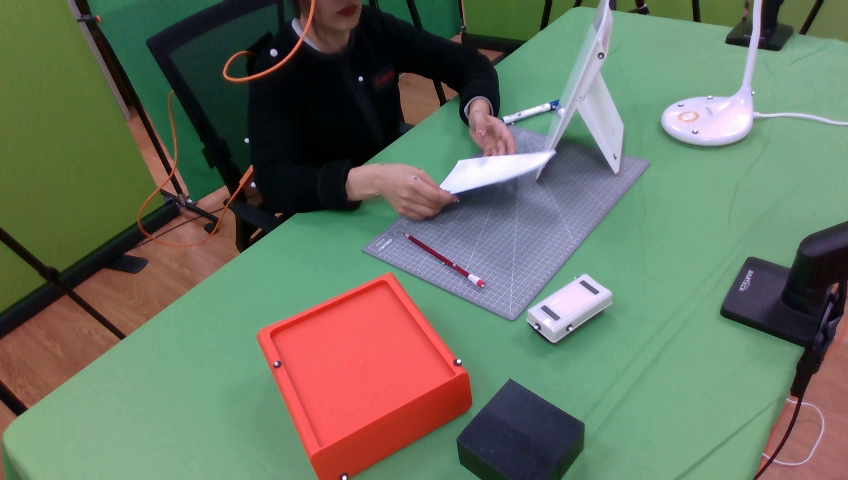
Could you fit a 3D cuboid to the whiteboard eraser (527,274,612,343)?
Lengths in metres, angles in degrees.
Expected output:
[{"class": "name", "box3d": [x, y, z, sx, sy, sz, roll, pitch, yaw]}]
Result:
[{"class": "whiteboard eraser", "box3d": [0.198, 0.094, 0.820, 0.113, 0.042, 0.055, -30, 43, -22]}]

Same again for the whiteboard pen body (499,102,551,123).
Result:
[{"class": "whiteboard pen body", "box3d": [0.221, -0.268, 1.257, 0.141, 0.017, 0.017, -19, 41, -13]}]

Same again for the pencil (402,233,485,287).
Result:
[{"class": "pencil", "box3d": [0.026, 0.027, 0.949, 0.012, 0.012, 0.192, -34, 45, -26]}]

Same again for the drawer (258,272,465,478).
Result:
[{"class": "drawer", "box3d": [-0.081, 0.160, 0.764, 0.195, 0.073, 0.210, -23, 43, -17]}]

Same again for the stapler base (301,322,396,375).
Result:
[{"class": "stapler base", "box3d": [-0.103, 0.139, 0.815, 0.131, 0.024, 0.041, -20, 38, -12]}]

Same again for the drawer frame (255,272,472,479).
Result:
[{"class": "drawer frame", "box3d": [-0.079, 0.161, 0.760, 0.202, 0.083, 0.211, -24, 43, -18]}]

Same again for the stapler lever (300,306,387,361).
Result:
[{"class": "stapler lever", "box3d": [-0.107, 0.122, 0.799, 0.118, 0.040, 0.026, -18, 38, -13]}]

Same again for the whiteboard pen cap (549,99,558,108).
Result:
[{"class": "whiteboard pen cap", "box3d": [0.275, -0.287, 1.269, 0.033, 0.018, 0.018, -18, 41, -13]}]

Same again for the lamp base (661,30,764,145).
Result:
[{"class": "lamp base", "box3d": [0.535, -0.287, 1.096, 0.179, 0.181, 0.159, -10, 40, -4]}]

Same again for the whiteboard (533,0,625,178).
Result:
[{"class": "whiteboard", "box3d": [0.321, -0.258, 1.049, 0.144, 0.306, 0.217, 20, 45, 4]}]
